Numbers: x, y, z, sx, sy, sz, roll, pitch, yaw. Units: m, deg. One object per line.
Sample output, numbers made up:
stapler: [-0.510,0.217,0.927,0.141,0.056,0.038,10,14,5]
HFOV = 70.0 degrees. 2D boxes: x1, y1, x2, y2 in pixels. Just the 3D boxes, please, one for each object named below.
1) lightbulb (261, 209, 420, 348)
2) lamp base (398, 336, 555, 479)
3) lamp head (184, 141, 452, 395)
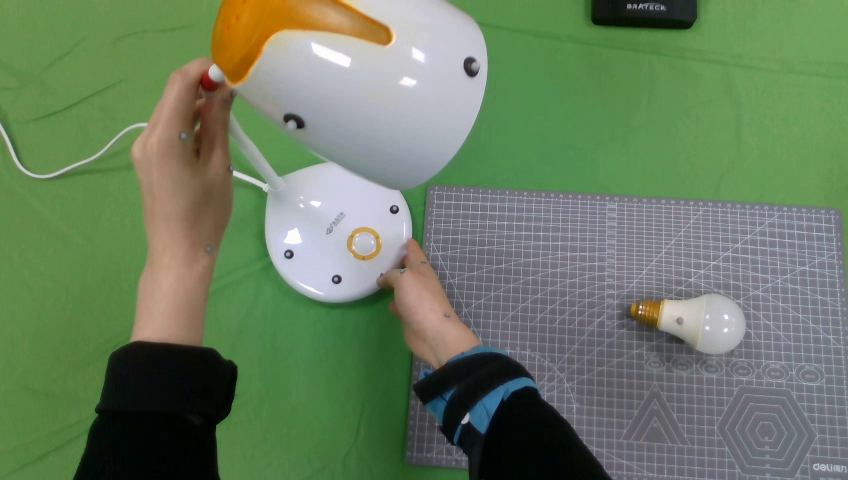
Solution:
lightbulb: [-0.047,0.022,0.278,0.107,0.060,0.059,-21,59,46]
lamp base: [0.043,0.154,0.593,0.179,0.181,0.159,9,70,11]
lamp head: [-0.061,0.027,0.300,0.113,0.123,0.111,18,60,-32]
